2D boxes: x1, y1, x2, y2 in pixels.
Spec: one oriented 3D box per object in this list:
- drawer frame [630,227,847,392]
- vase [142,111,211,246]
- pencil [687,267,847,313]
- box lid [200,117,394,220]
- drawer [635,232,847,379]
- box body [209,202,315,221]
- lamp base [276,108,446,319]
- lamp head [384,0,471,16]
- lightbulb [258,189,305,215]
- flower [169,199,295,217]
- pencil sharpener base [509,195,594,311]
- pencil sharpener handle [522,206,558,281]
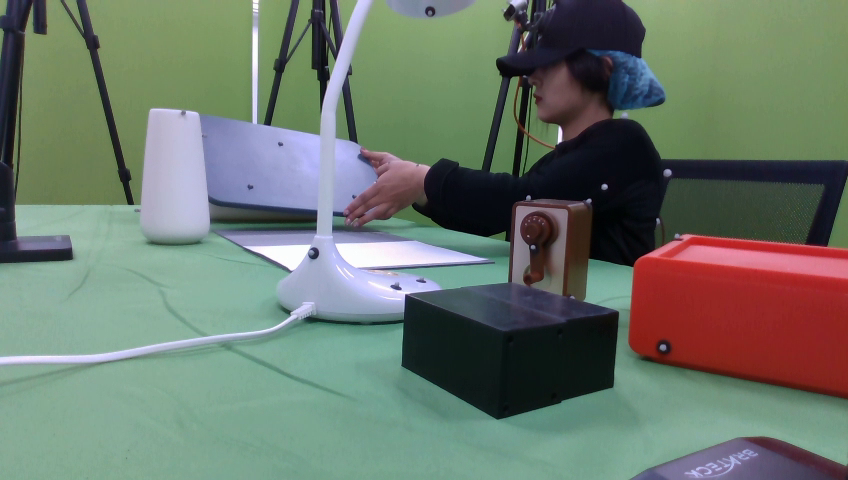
[{"bbox_3d":[0.292,0.043,0.484,0.201,0.082,0.214,7,9,29],"label":"drawer frame"},{"bbox_3d":[-0.378,-0.093,0.920,0.098,0.200,0.098,2,9,0],"label":"vase"},{"bbox_3d":[0.308,0.044,0.515,0.194,0.012,0.012,13,5,-12],"label":"pencil"},{"bbox_3d":[-0.252,-0.139,1.190,0.373,0.015,0.262,4,42,-31],"label":"box lid"},{"bbox_3d":[0.292,0.045,0.488,0.193,0.073,0.213,7,9,30],"label":"drawer"},{"bbox_3d":[-0.410,-0.135,1.386,0.366,0.160,0.253,-2,9,-29],"label":"box body"},{"bbox_3d":[-0.061,-0.027,0.556,0.160,0.180,0.180,4,10,20],"label":"lamp base"},{"bbox_3d":[-0.001,-0.301,0.599,0.112,0.112,0.123,4,-30,14],"label":"lamp head"},{"bbox_3d":[-0.325,-0.081,1.382,0.108,0.059,0.059,-14,9,-5],"label":"lightbulb"},{"bbox_3d":[-0.424,-0.070,1.399,0.044,0.038,0.363,-2,0,30],"label":"flower"},{"bbox_3d":[0.126,0.011,0.601,0.061,0.107,0.077,7,9,30],"label":"pencil sharpener base"},{"bbox_3d":[0.102,0.003,0.555,0.036,0.067,0.031,0,5,31],"label":"pencil sharpener handle"}]
